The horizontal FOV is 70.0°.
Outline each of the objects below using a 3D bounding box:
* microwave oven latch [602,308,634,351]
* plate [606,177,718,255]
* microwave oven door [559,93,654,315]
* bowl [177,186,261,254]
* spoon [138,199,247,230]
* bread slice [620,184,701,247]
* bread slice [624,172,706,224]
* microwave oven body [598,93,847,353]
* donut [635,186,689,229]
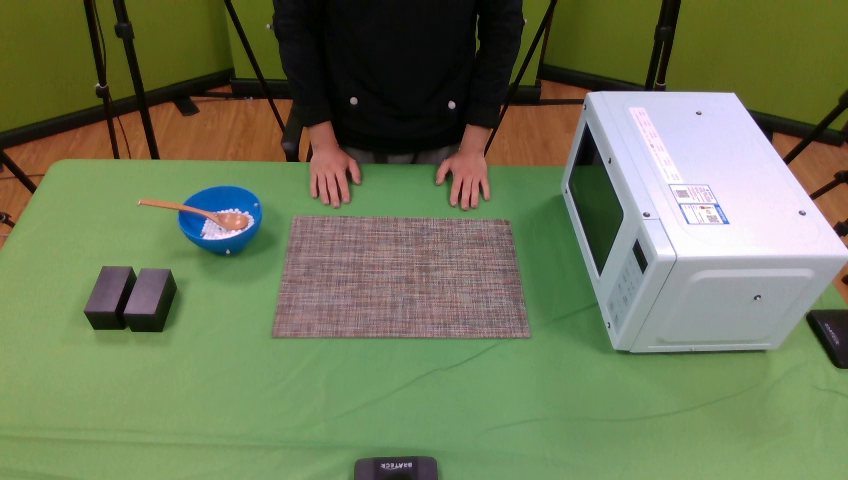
[{"bbox_3d":[0.332,0.153,1.044,0.030,0.029,0.078,-1,45,-4],"label":"microwave oven latch"},{"bbox_3d":[0.456,-0.043,1.180,0.208,0.039,0.206,0,46,0],"label":"plate"},{"bbox_3d":[0.327,-0.074,1.123,0.039,0.245,0.353,-1,46,-5],"label":"microwave oven door"},{"bbox_3d":[-0.383,-0.026,1.158,0.151,0.077,0.150,2,46,-2],"label":"bowl"},{"bbox_3d":[-0.431,-0.053,1.136,0.194,0.022,0.041,15,48,-20],"label":"spoon"},{"bbox_3d":[0.462,-0.044,1.169,0.134,0.018,0.107,32,59,20],"label":"bread slice"},{"bbox_3d":[0.461,-0.079,1.139,0.131,0.019,0.105,36,51,30],"label":"bread slice"},{"bbox_3d":[0.475,-0.041,1.110,0.326,0.261,0.438,-1,45,-4],"label":"microwave oven body"},{"bbox_3d":[0.454,-0.062,1.159,0.099,0.048,0.098,-1,47,2],"label":"donut"}]
